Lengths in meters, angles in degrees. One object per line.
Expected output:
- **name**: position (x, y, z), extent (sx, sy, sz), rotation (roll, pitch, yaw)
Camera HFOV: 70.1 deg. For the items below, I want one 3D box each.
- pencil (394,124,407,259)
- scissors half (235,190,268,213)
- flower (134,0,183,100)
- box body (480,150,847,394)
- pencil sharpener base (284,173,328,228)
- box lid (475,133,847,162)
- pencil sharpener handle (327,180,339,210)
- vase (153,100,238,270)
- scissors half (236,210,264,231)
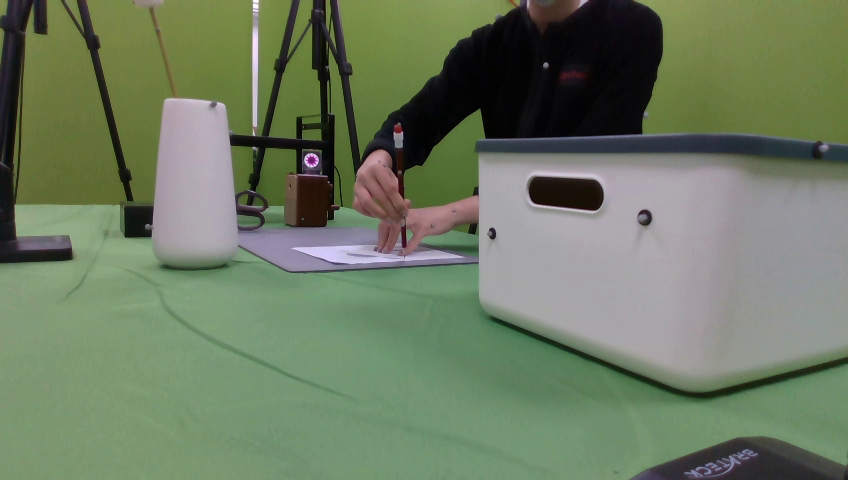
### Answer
- **pencil**: position (-0.030, -0.060, 0.809), extent (0.012, 0.194, 0.012), rotation (-1, 27, 1)
- **scissors half**: position (-0.363, -0.070, 1.060), extent (0.176, 0.040, 0.013), rotation (0, 16, -23)
- **flower**: position (-0.282, -0.147, 0.713), extent (0.038, 0.362, 0.044), rotation (-23, 24, -31)
- **box body**: position (0.254, 0.002, 0.539), extent (0.366, 0.160, 0.253), rotation (-2, 8, -31)
- **pencil sharpener base**: position (-0.239, -0.081, 1.231), extent (0.077, 0.107, 0.061), rotation (-2, 8, -36)
- **box lid**: position (0.256, -0.073, 0.528), extent (0.373, 0.015, 0.262), rotation (-2, 8, -31)
- **pencil sharpener handle**: position (-0.194, -0.095, 1.256), extent (0.031, 0.067, 0.036), rotation (-2, -6, -36)
- **vase**: position (-0.278, -0.066, 0.736), extent (0.098, 0.200, 0.098), rotation (2, 9, 0)
- **scissors half**: position (-0.369, -0.051, 1.065), extent (0.176, 0.040, 0.012), rotation (19, 13, -27)
